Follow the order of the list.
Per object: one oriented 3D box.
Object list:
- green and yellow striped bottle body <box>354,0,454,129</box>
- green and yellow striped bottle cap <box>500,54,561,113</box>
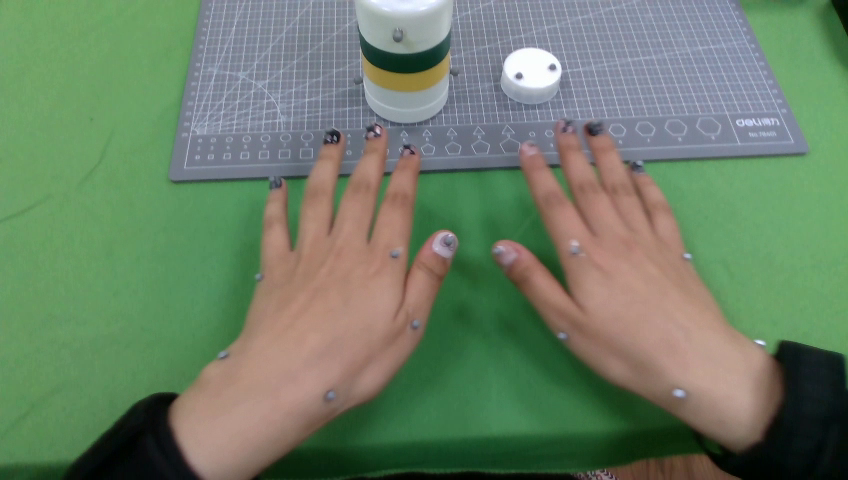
[{"bbox_3d":[-0.013,-0.136,0.404,0.063,0.120,0.062,0,59,0],"label":"green and yellow striped bottle body"},{"bbox_3d":[0.080,-0.119,0.458,0.045,0.020,0.045,1,61,-1],"label":"green and yellow striped bottle cap"}]
